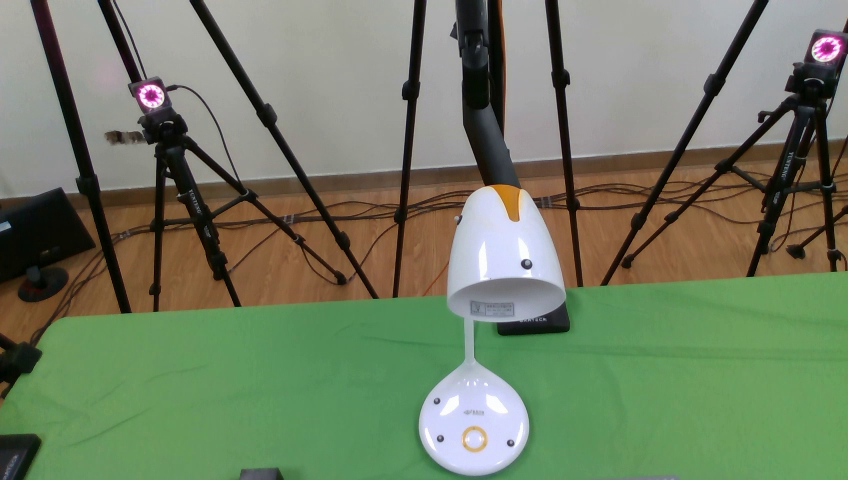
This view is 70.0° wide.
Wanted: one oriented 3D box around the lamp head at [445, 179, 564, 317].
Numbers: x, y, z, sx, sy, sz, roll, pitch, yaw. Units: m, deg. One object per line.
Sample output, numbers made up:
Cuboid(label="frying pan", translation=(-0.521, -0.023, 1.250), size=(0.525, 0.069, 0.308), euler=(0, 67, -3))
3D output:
Cuboid(label="lamp head", translation=(0.073, 0.005, 0.592), size=(0.112, 0.113, 0.121), euler=(-4, 58, 2))

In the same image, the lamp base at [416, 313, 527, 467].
Cuboid(label="lamp base", translation=(0.061, 0.192, 0.841), size=(0.161, 0.182, 0.177), euler=(-7, 40, -2))
